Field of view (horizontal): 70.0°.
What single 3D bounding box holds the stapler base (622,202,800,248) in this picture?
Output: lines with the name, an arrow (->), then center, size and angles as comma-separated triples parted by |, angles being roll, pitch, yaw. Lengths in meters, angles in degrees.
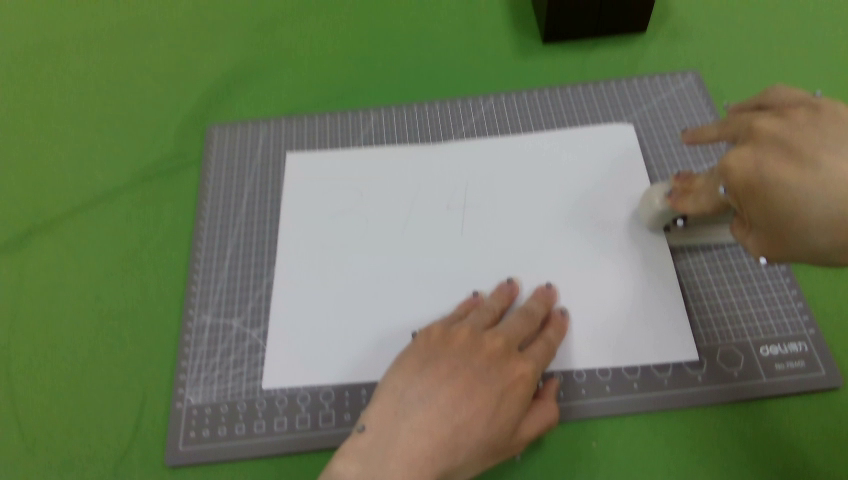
stapler base -> 0.220, -0.020, 0.461 | 0.130, 0.024, 0.041 | -4, 60, 0

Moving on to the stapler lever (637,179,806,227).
stapler lever -> 0.219, -0.029, 0.448 | 0.118, 0.040, 0.026 | -8, 60, 9
